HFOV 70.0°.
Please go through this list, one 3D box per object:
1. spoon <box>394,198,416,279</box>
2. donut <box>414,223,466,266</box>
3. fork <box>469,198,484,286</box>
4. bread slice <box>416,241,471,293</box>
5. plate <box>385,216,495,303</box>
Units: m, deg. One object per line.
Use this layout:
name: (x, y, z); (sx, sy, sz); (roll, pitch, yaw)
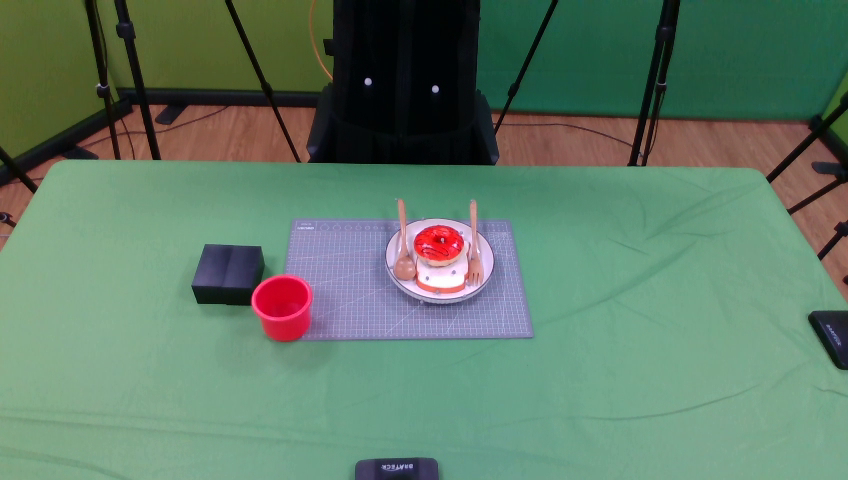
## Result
spoon: (-0.039, -0.006, 1.166); (0.042, 0.022, 0.192); (2, 59, -8)
donut: (0.030, 0.007, 1.140); (0.099, 0.048, 0.098); (0, 42, 0)
fork: (0.099, 0.000, 1.172); (0.028, 0.019, 0.206); (-6, 57, 11)
bread slice: (0.036, 0.046, 1.144); (0.105, 0.019, 0.131); (4, 45, 2)
plate: (0.030, 0.040, 1.145); (0.209, 0.038, 0.208); (2, 46, -2)
